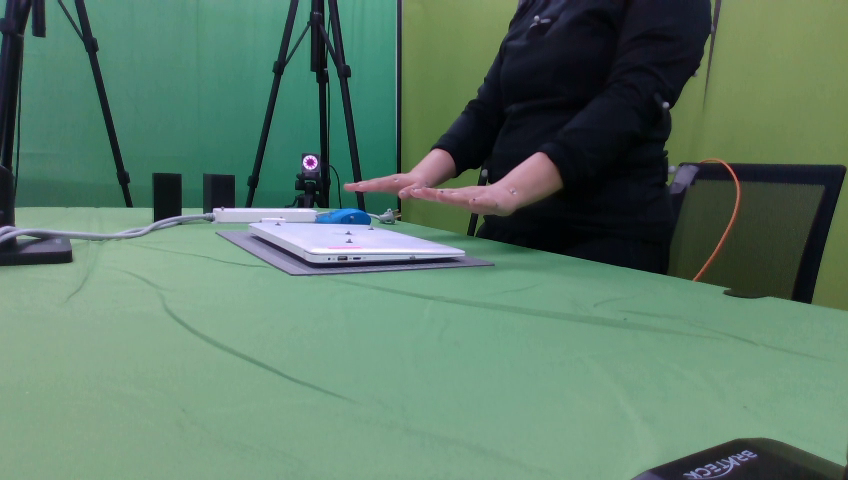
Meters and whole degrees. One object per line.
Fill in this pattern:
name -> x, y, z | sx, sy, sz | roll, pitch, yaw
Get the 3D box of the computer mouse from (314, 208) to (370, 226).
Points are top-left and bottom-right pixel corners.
computer mouse -> -0.175, -0.046, 1.292 | 0.118, 0.041, 0.062 | -7, 13, -34

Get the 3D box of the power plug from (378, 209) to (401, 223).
power plug -> -0.082, -0.062, 1.421 | 0.053, 0.035, 0.072 | -18, 21, -5

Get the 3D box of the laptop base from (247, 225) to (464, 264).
laptop base -> -0.124, 0.006, 0.955 | 0.237, 0.023, 0.352 | 2, 6, -30

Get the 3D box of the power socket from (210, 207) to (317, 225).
power socket -> -0.335, -0.051, 1.281 | 0.228, 0.032, 0.072 | -1, 9, -29

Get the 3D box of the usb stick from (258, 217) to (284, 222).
usb stick -> -0.291, -0.028, 1.119 | 0.059, 0.027, 0.021 | -3, 13, -29

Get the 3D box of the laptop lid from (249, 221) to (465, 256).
laptop lid -> -0.122, -0.005, 0.954 | 0.243, 0.013, 0.355 | 1, 7, -28
